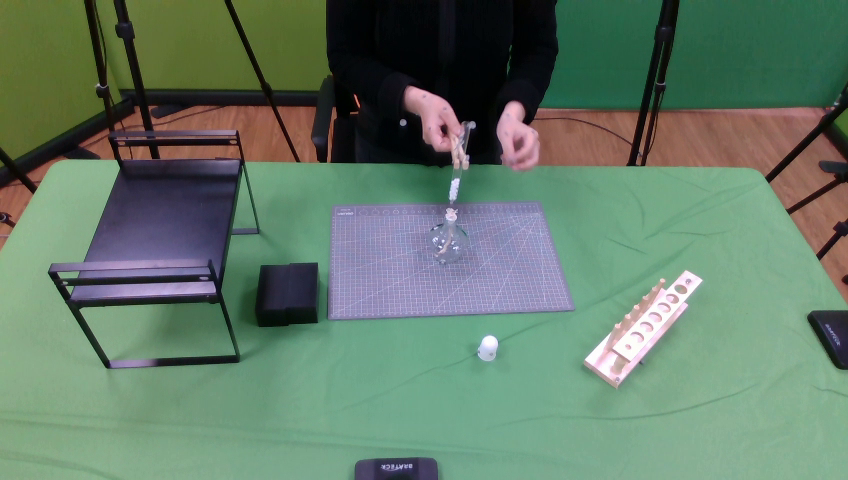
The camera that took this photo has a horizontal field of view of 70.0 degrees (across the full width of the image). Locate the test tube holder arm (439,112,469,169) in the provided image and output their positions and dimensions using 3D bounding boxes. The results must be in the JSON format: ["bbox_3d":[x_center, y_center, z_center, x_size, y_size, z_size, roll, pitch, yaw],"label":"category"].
[{"bbox_3d":[0.051,-0.178,1.069,0.013,0.015,0.177,-5,40,-11],"label":"test tube holder arm"}]

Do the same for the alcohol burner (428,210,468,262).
[{"bbox_3d":[0.048,-0.015,1.146,0.078,0.119,0.077,3,48,-3],"label":"alcohol burner"}]

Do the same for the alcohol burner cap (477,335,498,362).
[{"bbox_3d":[0.108,0.179,1.017,0.034,0.048,0.033,3,51,-4],"label":"alcohol burner cap"}]

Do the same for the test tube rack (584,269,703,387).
[{"bbox_3d":[0.381,0.139,1.046,0.066,0.085,0.242,37,54,28],"label":"test tube rack"}]

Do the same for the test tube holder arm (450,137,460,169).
[{"bbox_3d":[0.052,-0.150,1.035,0.010,0.015,0.087,0,40,-3],"label":"test tube holder arm"}]

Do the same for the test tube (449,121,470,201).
[{"bbox_3d":[0.059,-0.131,1.022,0.017,0.151,0.017,6,37,-4],"label":"test tube"}]
